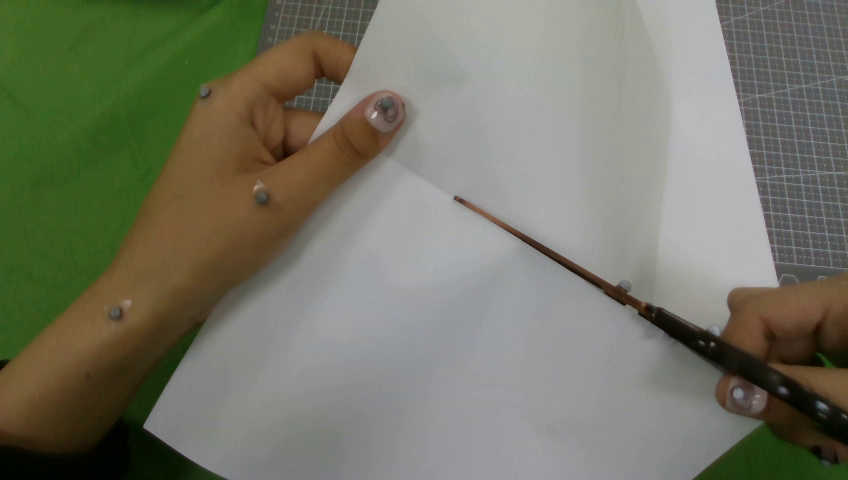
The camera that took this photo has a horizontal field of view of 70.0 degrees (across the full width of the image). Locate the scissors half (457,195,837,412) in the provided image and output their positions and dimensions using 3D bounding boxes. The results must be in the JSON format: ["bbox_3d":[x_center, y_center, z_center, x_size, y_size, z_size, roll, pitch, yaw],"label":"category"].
[{"bbox_3d":[0.088,0.027,0.246,0.175,0.040,0.013,31,99,-3],"label":"scissors half"}]

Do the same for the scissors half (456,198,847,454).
[{"bbox_3d":[0.086,0.029,0.226,0.174,0.040,0.013,32,94,13],"label":"scissors half"}]
